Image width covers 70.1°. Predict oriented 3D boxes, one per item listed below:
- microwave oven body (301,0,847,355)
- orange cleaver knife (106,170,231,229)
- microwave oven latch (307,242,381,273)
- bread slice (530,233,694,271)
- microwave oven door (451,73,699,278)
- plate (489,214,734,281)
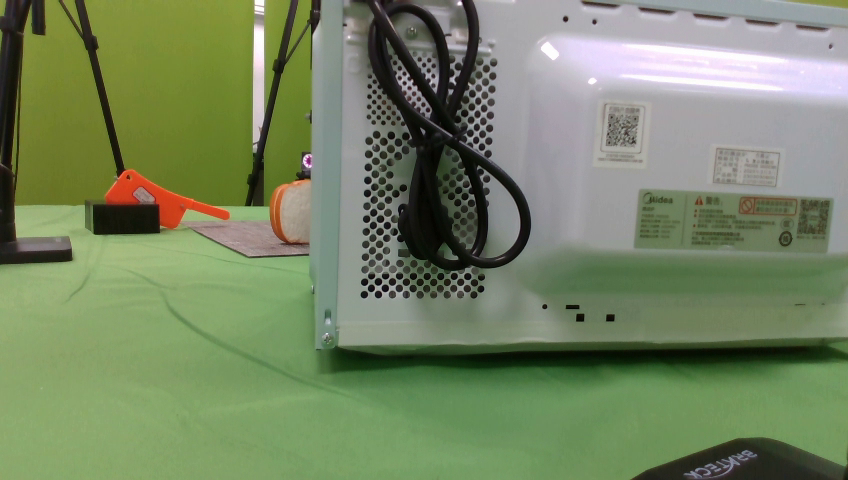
[{"bbox_3d":[0.120,-0.053,0.535,0.443,0.260,0.325,2,7,-11],"label":"microwave oven body"},{"bbox_3d":[-0.458,-0.060,1.097,0.212,0.077,0.012,23,-4,-38],"label":"orange cleaver knife"},{"bbox_3d":[-0.086,0.019,0.655,0.079,0.029,0.030,2,7,-10],"label":"microwave oven latch"},{"bbox_3d":[0.179,0.010,0.563,0.134,0.018,0.107,-5,6,27],"label":"bread slice"},{"bbox_3d":[0.184,-0.095,0.835,0.354,0.243,0.039,10,10,44],"label":"microwave oven door"},{"bbox_3d":[0.163,0.005,0.543,0.208,0.039,0.207,-3,7,1],"label":"plate"}]
